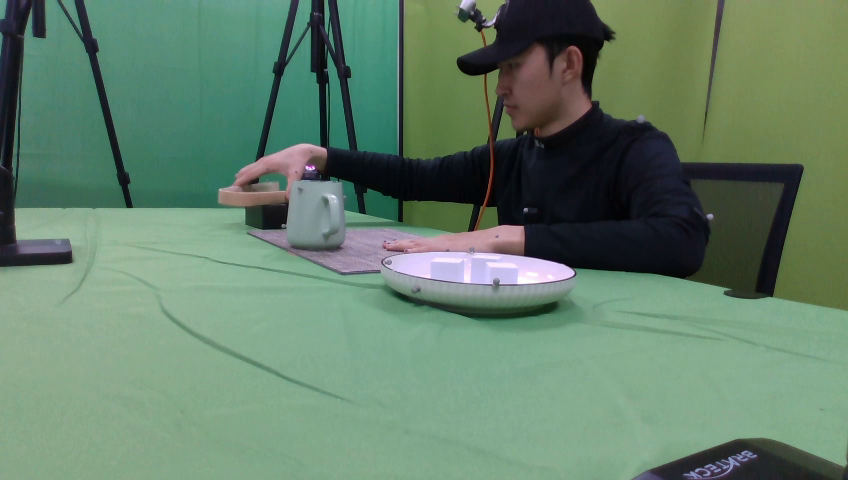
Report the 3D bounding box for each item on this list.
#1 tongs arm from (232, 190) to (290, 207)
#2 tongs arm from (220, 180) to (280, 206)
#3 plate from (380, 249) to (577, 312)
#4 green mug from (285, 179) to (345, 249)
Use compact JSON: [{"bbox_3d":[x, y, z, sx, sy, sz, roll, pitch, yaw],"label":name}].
[{"bbox_3d":[-0.286,-0.097,1.289,0.028,0.028,0.388,13,11,14],"label":"tongs arm"},{"bbox_3d":[-0.356,-0.105,1.299,0.051,0.026,0.385,8,9,5],"label":"tongs arm"},{"bbox_3d":[0.056,0.042,0.646,0.209,0.038,0.209,2,7,0],"label":"plate"},{"bbox_3d":[-0.161,-0.040,0.937,0.093,0.105,0.124,-2,8,-32],"label":"green mug"}]
